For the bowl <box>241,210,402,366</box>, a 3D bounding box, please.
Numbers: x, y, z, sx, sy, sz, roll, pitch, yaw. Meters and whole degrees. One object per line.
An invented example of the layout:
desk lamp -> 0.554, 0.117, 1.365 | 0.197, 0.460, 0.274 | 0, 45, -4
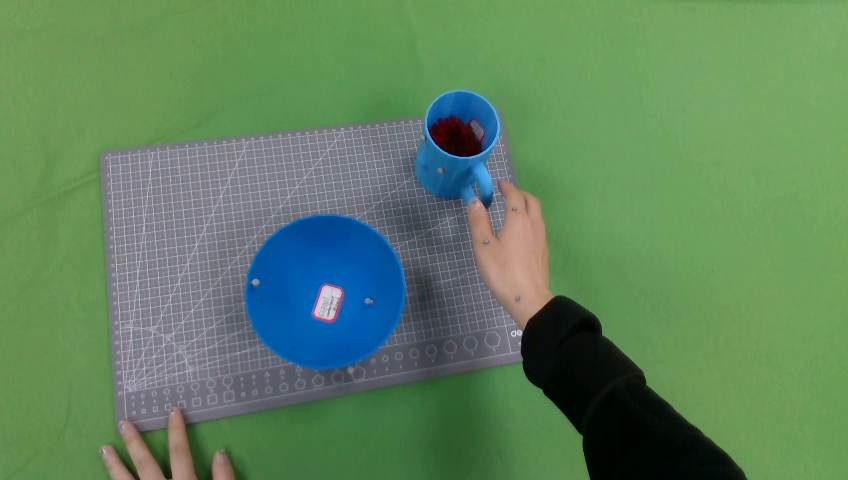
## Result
bowl -> -0.099, 0.053, 0.605 | 0.152, 0.077, 0.150 | 2, 75, -7

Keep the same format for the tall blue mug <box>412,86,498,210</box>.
tall blue mug -> 0.042, -0.093, 0.646 | 0.107, 0.108, 0.077 | 37, 73, 4
